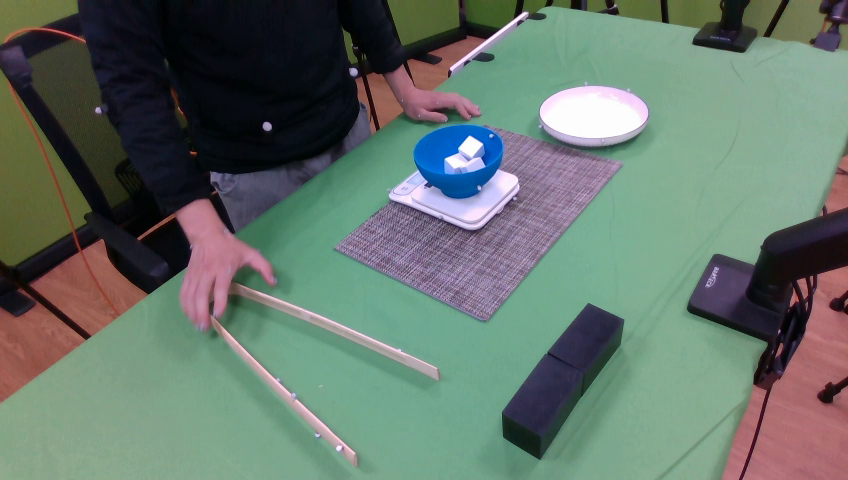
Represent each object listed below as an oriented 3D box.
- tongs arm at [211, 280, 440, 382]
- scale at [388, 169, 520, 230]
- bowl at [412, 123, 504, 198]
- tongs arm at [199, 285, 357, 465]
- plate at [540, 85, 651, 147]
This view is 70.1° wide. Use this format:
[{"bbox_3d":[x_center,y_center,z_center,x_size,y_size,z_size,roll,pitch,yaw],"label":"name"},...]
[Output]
[{"bbox_3d":[-0.148,0.122,0.846,0.385,0.028,0.028,17,48,25],"label":"tongs arm"},{"bbox_3d":[0.050,-0.090,1.051,0.199,0.032,0.149,24,49,31],"label":"scale"},{"bbox_3d":[0.060,-0.123,1.007,0.151,0.077,0.150,-5,41,5],"label":"bowl"},{"bbox_3d":[-0.199,0.162,0.797,0.381,0.026,0.051,28,49,35],"label":"tongs arm"},{"bbox_3d":[0.333,-0.238,1.186,0.207,0.039,0.206,-4,41,4],"label":"plate"}]
